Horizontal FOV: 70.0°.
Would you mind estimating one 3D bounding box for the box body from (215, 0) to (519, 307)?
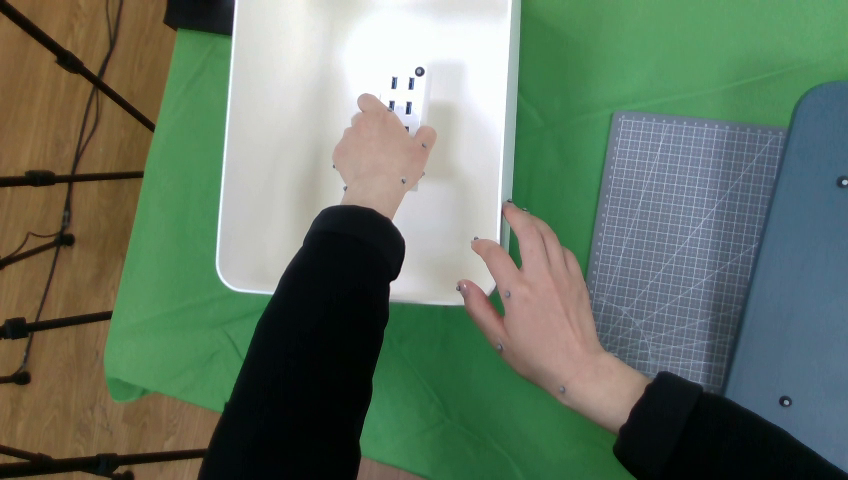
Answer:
[{"bbox_3d":[-0.039,-0.122,0.602,0.253,0.161,0.363,2,86,12],"label":"box body"}]

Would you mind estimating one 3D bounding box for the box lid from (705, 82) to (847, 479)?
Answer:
[{"bbox_3d":[0.421,0.063,0.532,0.262,0.015,0.372,11,100,13],"label":"box lid"}]

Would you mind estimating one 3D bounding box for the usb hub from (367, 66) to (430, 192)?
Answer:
[{"bbox_3d":[-0.026,-0.114,0.620,0.049,0.025,0.125,6,90,14],"label":"usb hub"}]
